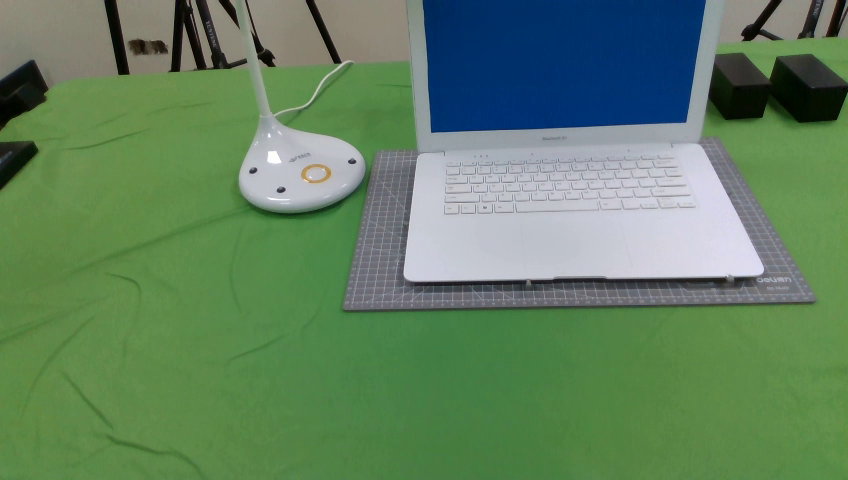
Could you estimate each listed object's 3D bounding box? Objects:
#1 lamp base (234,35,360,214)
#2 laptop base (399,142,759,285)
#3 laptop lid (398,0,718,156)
[{"bbox_3d":[-0.177,-0.147,0.731,0.177,0.182,0.160,26,49,35],"label":"lamp base"},{"bbox_3d":[0.154,-0.033,0.683,0.354,0.023,0.233,-2,43,4],"label":"laptop base"},{"bbox_3d":[0.151,-0.210,0.709,0.356,0.244,0.013,-3,33,5],"label":"laptop lid"}]
